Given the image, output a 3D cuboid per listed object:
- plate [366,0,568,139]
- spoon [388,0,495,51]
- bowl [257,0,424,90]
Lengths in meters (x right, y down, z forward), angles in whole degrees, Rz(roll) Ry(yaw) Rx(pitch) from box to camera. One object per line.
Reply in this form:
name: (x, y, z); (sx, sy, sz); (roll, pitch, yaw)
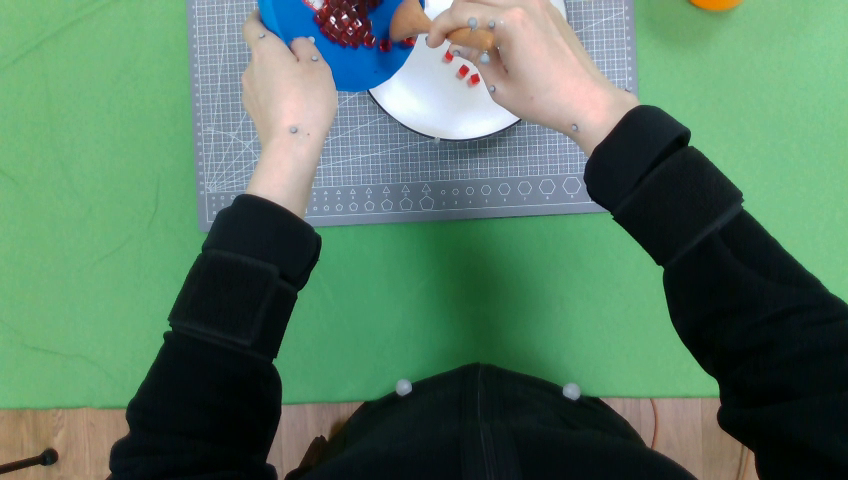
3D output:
plate: (0.034, -0.201, 0.592); (0.209, 0.038, 0.209); (0, 91, 3)
spoon: (0.009, -0.158, 0.448); (0.022, 0.191, 0.041); (21, 103, -32)
bowl: (-0.081, -0.205, 0.499); (0.076, 0.153, 0.151); (24, 92, 43)
